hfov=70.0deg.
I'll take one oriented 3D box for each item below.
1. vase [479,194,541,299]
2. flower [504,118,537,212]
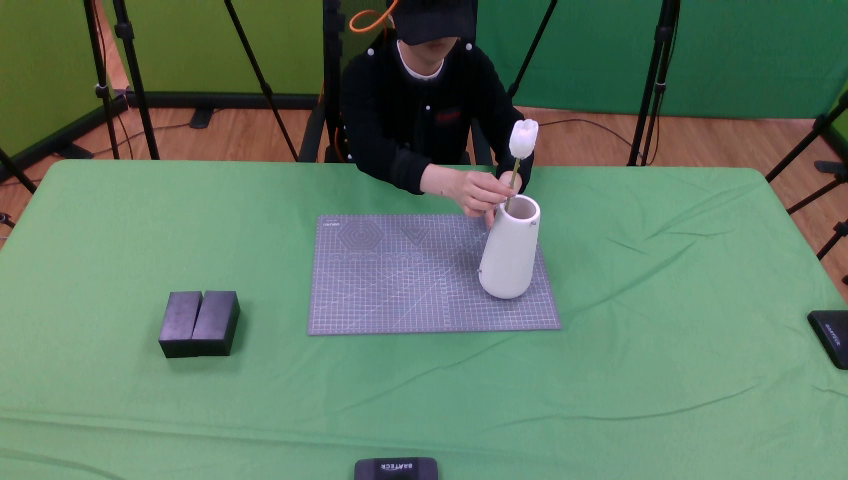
[{"bbox_3d":[0.152,0.015,1.066,0.098,0.201,0.097,1,47,-1],"label":"vase"},{"bbox_3d":[0.135,-0.052,1.007,0.038,0.363,0.044,35,56,23],"label":"flower"}]
